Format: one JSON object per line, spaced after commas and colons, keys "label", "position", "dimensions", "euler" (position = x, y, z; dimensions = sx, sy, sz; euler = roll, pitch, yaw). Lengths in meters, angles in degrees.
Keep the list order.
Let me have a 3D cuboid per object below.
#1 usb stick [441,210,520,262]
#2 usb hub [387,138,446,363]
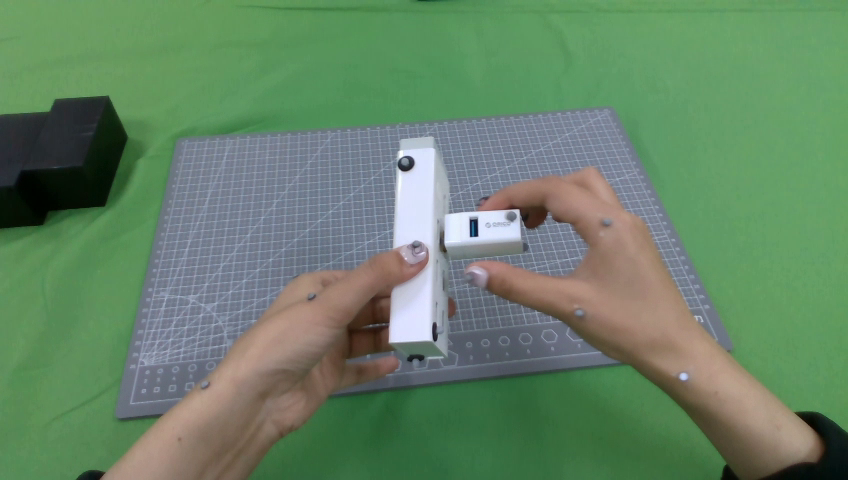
{"label": "usb stick", "position": [0.027, -0.002, 0.356], "dimensions": [0.059, 0.027, 0.021], "euler": [-6, 65, 13]}
{"label": "usb hub", "position": [-0.003, 0.006, 0.357], "dimensions": [0.025, 0.050, 0.124], "euler": [-4, 68, 12]}
